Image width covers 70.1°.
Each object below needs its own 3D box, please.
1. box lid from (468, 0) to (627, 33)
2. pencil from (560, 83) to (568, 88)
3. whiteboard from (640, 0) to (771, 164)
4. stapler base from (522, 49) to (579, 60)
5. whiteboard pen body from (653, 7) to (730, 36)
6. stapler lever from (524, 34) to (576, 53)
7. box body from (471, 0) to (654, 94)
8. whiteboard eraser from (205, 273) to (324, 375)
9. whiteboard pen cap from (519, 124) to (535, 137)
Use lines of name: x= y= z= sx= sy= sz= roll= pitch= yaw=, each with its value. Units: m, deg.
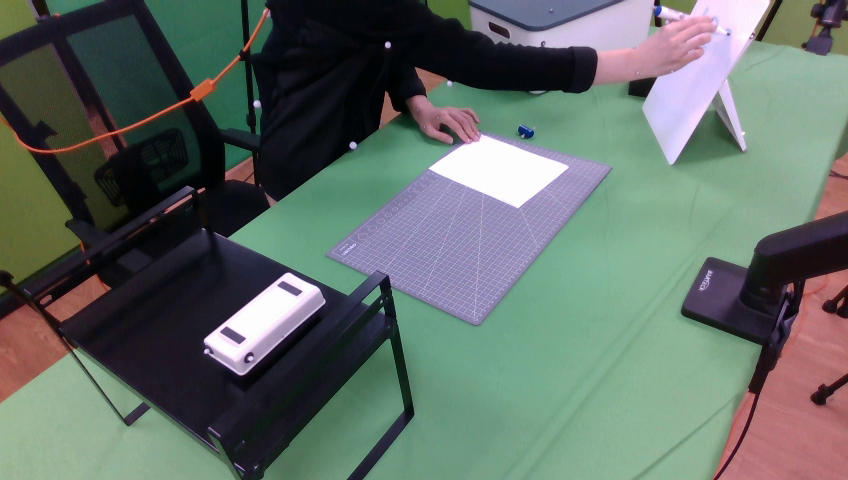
box lid: x=0.312 y=-0.554 z=1.358 sx=0.373 sy=0.015 sz=0.261 roll=-26 pitch=44 yaw=-20
pencil: x=0.248 y=-0.393 z=1.398 sx=0.193 sy=0.012 sz=0.012 roll=32 pitch=53 yaw=24
whiteboard: x=0.543 y=-0.299 z=1.076 sx=0.144 sy=0.305 sz=0.216 roll=12 pitch=40 yaw=-7
stapler base: x=0.300 y=-0.441 z=1.434 sx=0.130 sy=0.024 sz=0.041 roll=3 pitch=23 yaw=18
whiteboard pen body: x=0.427 y=-0.344 z=0.958 sx=0.141 sy=0.017 sz=0.017 roll=11 pitch=38 yaw=-14
stapler lever: x=0.297 y=-0.462 z=1.424 sx=0.117 sy=0.040 sz=0.027 roll=5 pitch=23 yaw=17
box body: x=0.319 y=-0.498 z=1.405 sx=0.365 sy=0.161 sz=0.252 roll=-26 pitch=43 yaw=-21
whiteboard eraser: x=-0.157 y=0.084 z=0.605 sx=0.055 sy=0.042 sz=0.113 roll=24 pitch=49 yaw=30
whiteboard pen cap: x=0.206 y=-0.218 z=1.205 sx=0.018 sy=0.018 sz=0.033 roll=-27 pitch=44 yaw=-22
